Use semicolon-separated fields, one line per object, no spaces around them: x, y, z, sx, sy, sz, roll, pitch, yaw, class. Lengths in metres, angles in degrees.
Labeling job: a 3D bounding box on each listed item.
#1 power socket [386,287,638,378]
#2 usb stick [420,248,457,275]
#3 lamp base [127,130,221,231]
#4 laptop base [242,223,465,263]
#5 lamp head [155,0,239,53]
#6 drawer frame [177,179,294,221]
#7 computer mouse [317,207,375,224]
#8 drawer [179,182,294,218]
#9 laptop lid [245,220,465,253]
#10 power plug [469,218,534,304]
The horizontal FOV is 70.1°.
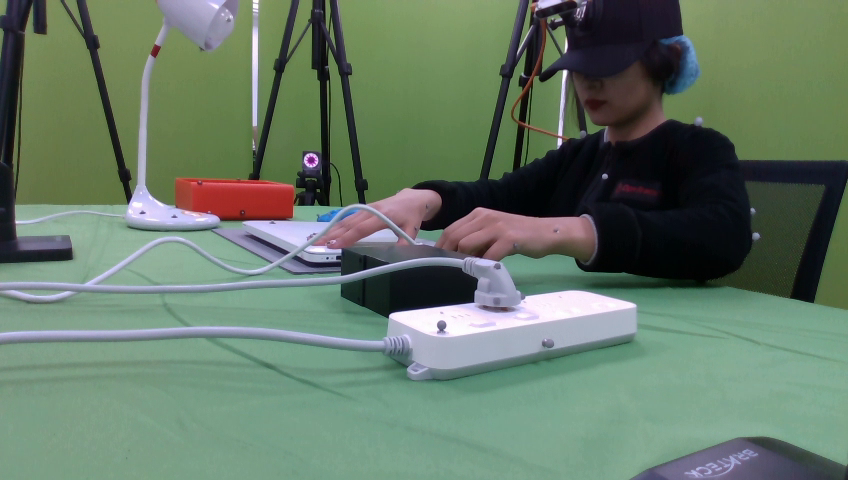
0.074;0.064;0.461;0.228;0.032;0.072;-4;8;-34;power socket
0.014;0.026;0.751;0.027;0.021;0.059;43;-16;-21;usb stick
-0.469;-0.112;1.108;0.179;0.180;0.160;0;7;3;lamp base
-0.126;0.003;0.946;0.237;0.023;0.352;2;7;-31;laptop base
-0.406;-0.402;1.060;0.123;0.112;0.112;25;6;-6;lamp head
-0.422;-0.092;1.352;0.215;0.082;0.200;-3;10;-32;drawer frame
-0.163;-0.048;1.264;0.118;0.041;0.062;-6;12;-29;computer mouse
-0.420;-0.091;1.354;0.213;0.073;0.193;-3;10;-31;drawer
-0.124;-0.009;0.945;0.243;0.013;0.355;1;7;-29;laptop lid
0.054;0.014;0.454;0.035;0.072;0.052;-23;-3;-40;power plug
